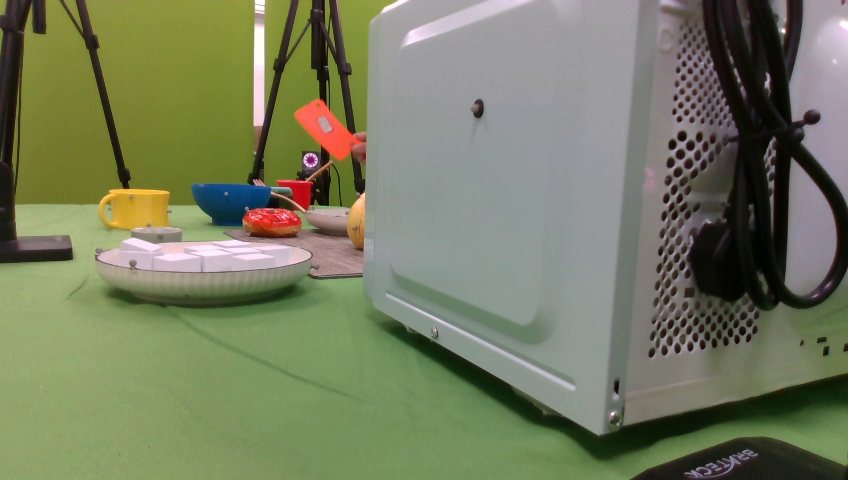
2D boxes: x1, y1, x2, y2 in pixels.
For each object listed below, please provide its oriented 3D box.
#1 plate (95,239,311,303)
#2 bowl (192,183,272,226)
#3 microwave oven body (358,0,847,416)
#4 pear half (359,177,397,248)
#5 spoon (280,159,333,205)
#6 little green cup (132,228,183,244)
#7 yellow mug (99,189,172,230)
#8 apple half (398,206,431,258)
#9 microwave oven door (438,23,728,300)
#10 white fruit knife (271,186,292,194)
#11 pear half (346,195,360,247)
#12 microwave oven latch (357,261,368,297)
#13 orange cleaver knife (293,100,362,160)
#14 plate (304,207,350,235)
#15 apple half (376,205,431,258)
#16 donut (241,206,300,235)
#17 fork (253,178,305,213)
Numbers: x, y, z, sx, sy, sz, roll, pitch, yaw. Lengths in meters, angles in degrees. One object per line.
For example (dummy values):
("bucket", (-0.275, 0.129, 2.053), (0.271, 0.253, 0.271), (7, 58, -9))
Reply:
("plate", (-0.224, 0.031, 0.629), (0.208, 0.039, 0.207), (2, 7, 0))
("bowl", (-0.381, -0.071, 1.202), (0.151, 0.077, 0.151), (3, 7, 0))
("microwave oven body", (0.211, -0.047, 0.474), (0.444, 0.260, 0.324), (-1, 7, -28))
("pear half", (-0.068, -0.041, 0.924), (0.056, 0.110, 0.076), (2, 11, -2))
("spoon", (-0.316, -0.159, 1.639), (0.194, 0.022, 0.041), (-49, 32, -20))
("little green cup", (-0.342, 0.006, 0.779), (0.061, 0.038, 0.061), (2, 8, 0))
("yellow mug", (-0.518, -0.055, 1.080), (0.099, 0.064, 0.131), (6, 9, 26))
("apple half", (-0.008, -0.013, 0.863), (0.033, 0.081, 0.081), (-4, 10, -26))
("microwave oven door", (0.181, -0.072, 0.621), (0.358, 0.243, 0.039), (-2, 8, -29))
("white fruit knife", (-0.399, -0.111, 1.368), (0.208, 0.016, 0.027), (-4, -19, -29))
("pear half", (-0.104, -0.033, 0.926), (0.031, 0.088, 0.070), (2, 12, -2))
("microwave oven latch", (-0.019, 0.033, 0.531), (0.079, 0.029, 0.030), (-1, 7, -27))
("orange cleaver knife", (-0.171, -0.202, 1.240), (0.212, 0.077, 0.012), (40, -19, -13))
("plate", (-0.123, -0.037, 1.149), (0.209, 0.038, 0.209), (2, 7, 0))
("apple half", (-0.036, -0.012, 0.854), (0.080, 0.074, 0.053), (13, 13, 27))
("donut", (-0.263, -0.031, 1.039), (0.099, 0.048, 0.099), (4, 10, 0))
("fork", (-0.294, -0.084, 1.293), (0.206, 0.018, 0.028), (29, 11, 26))
